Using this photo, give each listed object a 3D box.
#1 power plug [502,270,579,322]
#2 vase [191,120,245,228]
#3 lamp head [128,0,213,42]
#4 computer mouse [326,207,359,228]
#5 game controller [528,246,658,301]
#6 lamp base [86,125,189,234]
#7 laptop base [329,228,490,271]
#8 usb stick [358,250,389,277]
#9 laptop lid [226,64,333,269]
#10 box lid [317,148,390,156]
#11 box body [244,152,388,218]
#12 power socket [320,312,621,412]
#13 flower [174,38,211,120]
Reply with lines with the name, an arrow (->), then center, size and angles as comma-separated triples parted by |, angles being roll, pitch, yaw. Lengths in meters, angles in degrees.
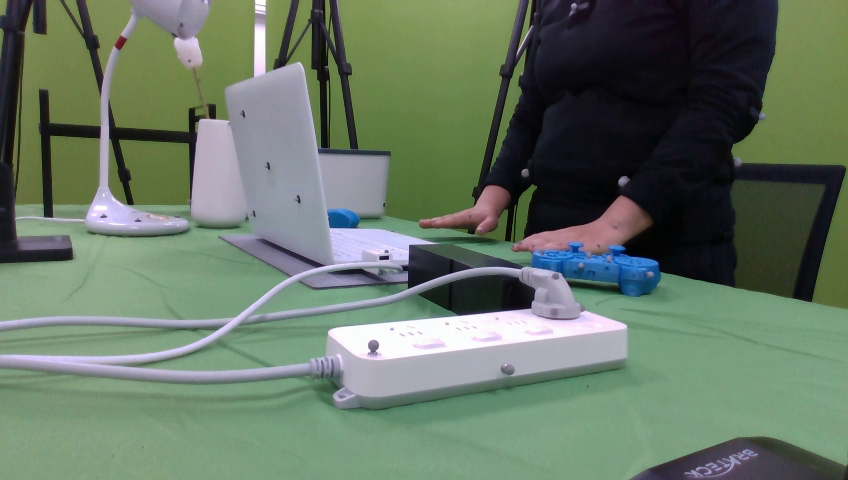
power plug -> 0.090, 0.051, 0.469 | 0.035, 0.052, 0.072 | 1, 5, -19
vase -> -0.389, -0.124, 1.143 | 0.098, 0.200, 0.098 | 3, 9, 0
lamp head -> -0.423, -0.394, 0.980 | 0.123, 0.112, 0.112 | 20, 7, -3
computer mouse -> -0.194, -0.046, 1.241 | 0.117, 0.041, 0.063 | -1, 9, 12
game controller -> 0.202, 0.037, 0.733 | 0.155, 0.051, 0.097 | 5, 10, 19
lamp base -> -0.497, -0.105, 1.027 | 0.179, 0.180, 0.160 | 1, 7, 2
laptop base -> -0.096, 0.011, 0.912 | 0.237, 0.023, 0.352 | 2, 7, -32
usb stick -> -0.062, 0.026, 0.708 | 0.021, 0.027, 0.059 | -4, 5, -28
laptop lid -> -0.209, -0.101, 0.824 | 0.013, 0.241, 0.355 | -14, 16, -29
box lid -> -0.295, -0.217, 1.463 | 0.373, 0.015, 0.262 | -1, 8, -29
box body -> -0.297, -0.143, 1.475 | 0.366, 0.160, 0.253 | -1, 9, -30
power socket -> 0.038, 0.075, 0.409 | 0.228, 0.032, 0.072 | -2, 8, -29
flower -> -0.401, -0.207, 1.141 | 0.038, 0.361, 0.044 | -14, 3, 44
